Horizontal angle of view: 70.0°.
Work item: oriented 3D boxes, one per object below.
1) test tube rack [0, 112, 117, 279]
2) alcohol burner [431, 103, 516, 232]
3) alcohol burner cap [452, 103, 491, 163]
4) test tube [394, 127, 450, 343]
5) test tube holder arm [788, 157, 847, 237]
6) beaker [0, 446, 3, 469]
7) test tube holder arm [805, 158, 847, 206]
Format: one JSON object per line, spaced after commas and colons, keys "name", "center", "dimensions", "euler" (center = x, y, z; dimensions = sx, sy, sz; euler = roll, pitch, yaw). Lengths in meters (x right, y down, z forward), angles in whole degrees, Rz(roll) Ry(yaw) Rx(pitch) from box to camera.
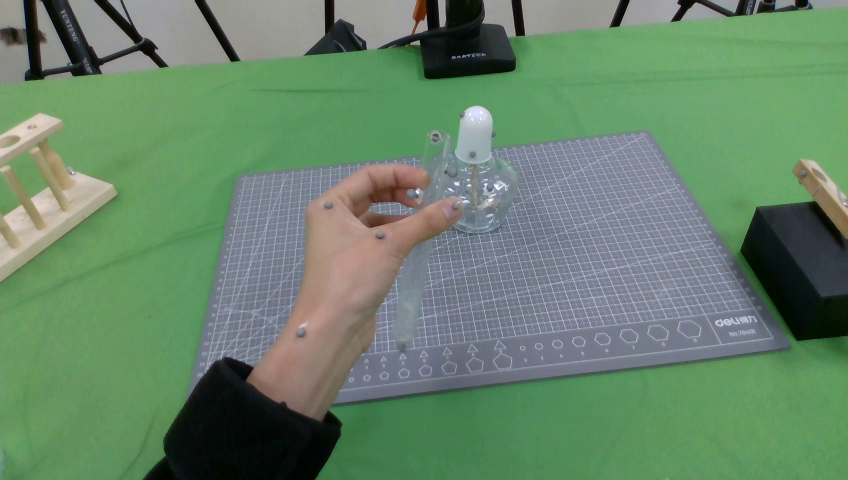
{"name": "test tube rack", "center": [-0.412, -0.014, 0.550], "dimensions": [0.066, 0.086, 0.241], "euler": [18, 48, 22]}
{"name": "alcohol burner", "center": [0.044, -0.067, 0.541], "dimensions": [0.078, 0.120, 0.077], "euler": [-3, 42, 3]}
{"name": "alcohol burner cap", "center": [0.042, -0.093, 0.516], "dimensions": [0.034, 0.048, 0.033], "euler": [1, 43, -1]}
{"name": "test tube", "center": [-0.003, 0.003, 0.383], "dimensions": [0.017, 0.151, 0.017], "euler": [8, 26, -3]}
{"name": "test tube holder arm", "center": [0.320, -0.036, 0.486], "dimensions": [0.010, 0.015, 0.087], "euler": [1, 44, -6]}
{"name": "beaker", "center": [-0.328, 0.132, 0.378], "dimensions": [0.084, 0.101, 0.073], "euler": [-24, 46, -18]}
{"name": "test tube holder arm", "center": [0.328, -0.005, 0.454], "dimensions": [0.013, 0.015, 0.176], "euler": [0, 44, -6]}
